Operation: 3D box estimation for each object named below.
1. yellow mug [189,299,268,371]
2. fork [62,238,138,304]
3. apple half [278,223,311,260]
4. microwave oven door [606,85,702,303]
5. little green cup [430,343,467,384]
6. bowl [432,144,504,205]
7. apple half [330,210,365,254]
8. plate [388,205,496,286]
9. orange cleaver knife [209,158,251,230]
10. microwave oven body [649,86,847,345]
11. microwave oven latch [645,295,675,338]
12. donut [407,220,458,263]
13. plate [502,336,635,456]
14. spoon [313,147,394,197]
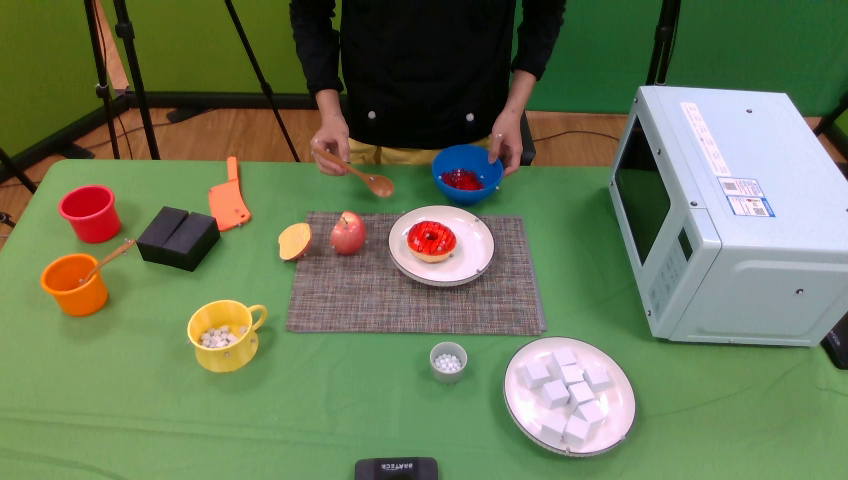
[{"bbox_3d":[-0.316,0.148,1.002,0.131,0.064,0.099,-33,56,-31],"label":"yellow mug"},{"bbox_3d":[-0.547,0.053,1.018,0.207,0.019,0.028,-36,41,23],"label":"fork"},{"bbox_3d":[-0.241,0.007,1.157,0.081,0.033,0.081,-17,54,24],"label":"apple half"},{"bbox_3d":[0.423,-0.094,1.140,0.039,0.245,0.353,2,46,-1],"label":"microwave oven door"},{"bbox_3d":[0.039,0.203,0.993,0.061,0.039,0.061,2,46,-2],"label":"little green cup"},{"bbox_3d":[0.091,-0.127,1.287,0.151,0.077,0.150,1,47,-1],"label":"bowl"},{"bbox_3d":[-0.140,-0.009,1.157,0.053,0.075,0.080,17,44,8],"label":"apple half"},{"bbox_3d":[0.033,0.014,1.171,0.209,0.038,0.208,2,46,-2],"label":"plate"},{"bbox_3d":[-0.409,-0.099,1.266,0.077,0.012,0.210,-13,49,-10],"label":"orange cleaver knife"},{"bbox_3d":[0.568,-0.053,1.118,0.326,0.261,0.439,2,45,-1],"label":"microwave oven body"},{"bbox_3d":[0.412,0.134,1.061,0.030,0.029,0.078,3,45,0],"label":"microwave oven latch"},{"bbox_3d":[0.016,0.002,1.166,0.099,0.048,0.098,3,44,-2],"label":"donut"},{"bbox_3d":[0.225,0.248,0.964,0.208,0.039,0.206,2,46,-2],"label":"plate"},{"bbox_3d":[-0.137,-0.137,1.196,0.195,0.041,0.021,27,14,-39],"label":"spoon"}]
